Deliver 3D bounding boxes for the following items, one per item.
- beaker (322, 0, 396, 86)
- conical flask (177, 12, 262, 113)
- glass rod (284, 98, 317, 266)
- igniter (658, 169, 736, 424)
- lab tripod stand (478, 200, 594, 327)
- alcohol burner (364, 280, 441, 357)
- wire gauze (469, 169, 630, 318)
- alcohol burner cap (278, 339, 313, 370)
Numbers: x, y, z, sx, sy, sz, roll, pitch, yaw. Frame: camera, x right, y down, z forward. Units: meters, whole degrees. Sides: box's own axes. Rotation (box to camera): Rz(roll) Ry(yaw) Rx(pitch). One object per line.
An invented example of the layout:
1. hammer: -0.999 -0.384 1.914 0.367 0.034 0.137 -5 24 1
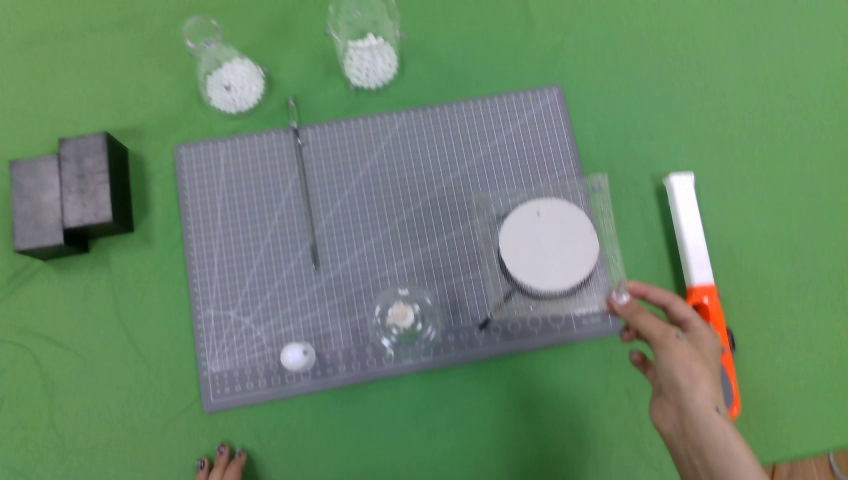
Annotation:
1. beaker: -0.068 -0.224 0.667 0.074 0.100 0.083 -8 78 -3
2. conical flask: -0.222 -0.192 0.643 0.075 0.122 0.075 0 78 -1
3. glass rod: -0.138 -0.068 0.675 0.008 0.008 0.198 -11 79 -4
4. igniter: 0.296 0.057 0.659 0.057 0.025 0.275 -4 79 -13
5. lab tripod stand: 0.106 0.025 0.602 0.148 0.132 0.148 0 80 -2
6. alcohol burner: -0.022 0.077 0.598 0.078 0.119 0.077 0 80 -1
7. wire gauze: 0.108 0.003 0.528 0.125 0.011 0.121 -7 76 1
8. alcohol burner cap: -0.134 0.117 0.623 0.034 0.048 0.033 0 78 -2
